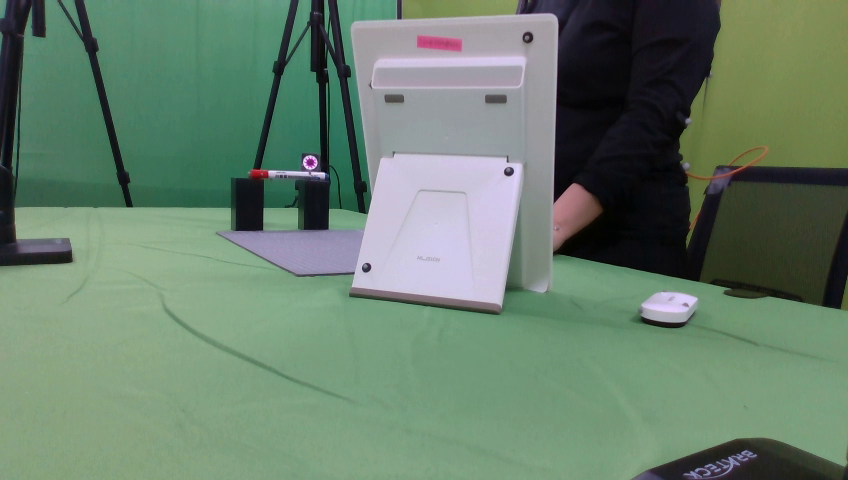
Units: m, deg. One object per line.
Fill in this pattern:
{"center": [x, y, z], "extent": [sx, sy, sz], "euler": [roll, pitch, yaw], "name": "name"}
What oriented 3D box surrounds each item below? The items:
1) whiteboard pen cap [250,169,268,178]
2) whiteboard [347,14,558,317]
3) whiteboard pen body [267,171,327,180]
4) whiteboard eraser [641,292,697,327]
{"center": [-0.315, -0.127, 1.155], "extent": [0.032, 0.017, 0.017], "euler": [1, 7, -24], "name": "whiteboard pen cap"}
{"center": [0.012, -0.056, 0.609], "extent": [0.216, 0.305, 0.144], "euler": [5, 27, 20], "name": "whiteboard"}
{"center": [-0.260, -0.126, 1.181], "extent": [0.141, 0.017, 0.017], "euler": [-2, 8, -26], "name": "whiteboard pen body"}
{"center": [0.240, 0.066, 0.590], "extent": [0.041, 0.019, 0.102], "euler": [6, 7, 31], "name": "whiteboard eraser"}
